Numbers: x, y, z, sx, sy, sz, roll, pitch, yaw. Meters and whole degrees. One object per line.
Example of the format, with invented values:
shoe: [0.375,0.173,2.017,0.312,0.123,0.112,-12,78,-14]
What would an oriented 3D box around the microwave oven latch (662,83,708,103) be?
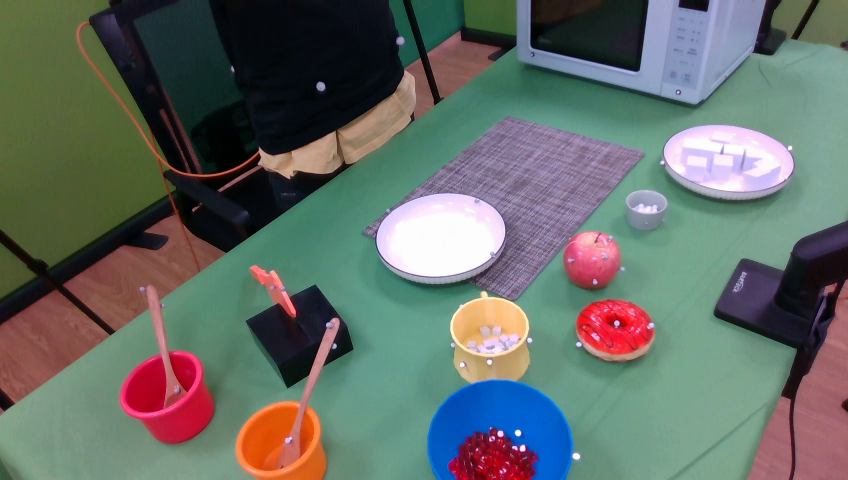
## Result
microwave oven latch: [0.518,-0.296,1.204,0.078,0.029,0.030,27,52,35]

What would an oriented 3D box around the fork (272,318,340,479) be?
fork: [-0.131,0.186,0.676,0.028,0.019,0.207,18,90,28]

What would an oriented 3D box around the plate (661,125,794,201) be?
plate: [0.513,-0.128,1.035,0.207,0.039,0.206,-4,40,4]

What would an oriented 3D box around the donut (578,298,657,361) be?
donut: [0.250,0.115,0.786,0.099,0.048,0.098,-5,37,4]

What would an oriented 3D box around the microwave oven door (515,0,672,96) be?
microwave oven door: [0.343,-0.454,1.259,0.353,0.245,0.039,26,51,33]

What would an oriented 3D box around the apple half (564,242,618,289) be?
apple half: [0.229,0.044,0.848,0.081,0.081,0.033,16,41,26]

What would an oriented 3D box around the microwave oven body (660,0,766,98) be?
microwave oven body: [0.472,-0.513,1.317,0.438,0.261,0.327,26,51,34]

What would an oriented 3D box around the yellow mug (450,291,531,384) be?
yellow mug: [0.085,0.120,0.786,0.100,0.064,0.130,-7,39,1]

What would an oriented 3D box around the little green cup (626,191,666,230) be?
little green cup: [0.352,-0.046,0.963,0.061,0.039,0.061,-4,40,4]

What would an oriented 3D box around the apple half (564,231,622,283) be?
apple half: [0.248,0.021,0.874,0.080,0.075,0.053,13,40,28]

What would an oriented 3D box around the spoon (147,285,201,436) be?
spoon: [-0.318,0.148,0.755,0.042,0.021,0.193,-15,86,-9]

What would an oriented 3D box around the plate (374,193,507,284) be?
plate: [0.027,0.000,0.952,0.209,0.038,0.208,-4,40,4]

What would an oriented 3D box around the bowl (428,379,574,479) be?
bowl: [0.082,0.233,0.644,0.151,0.077,0.150,-4,39,4]

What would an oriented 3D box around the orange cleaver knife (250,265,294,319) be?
orange cleaver knife: [-0.222,0.072,0.876,0.012,0.077,0.210,-24,13,-22]
